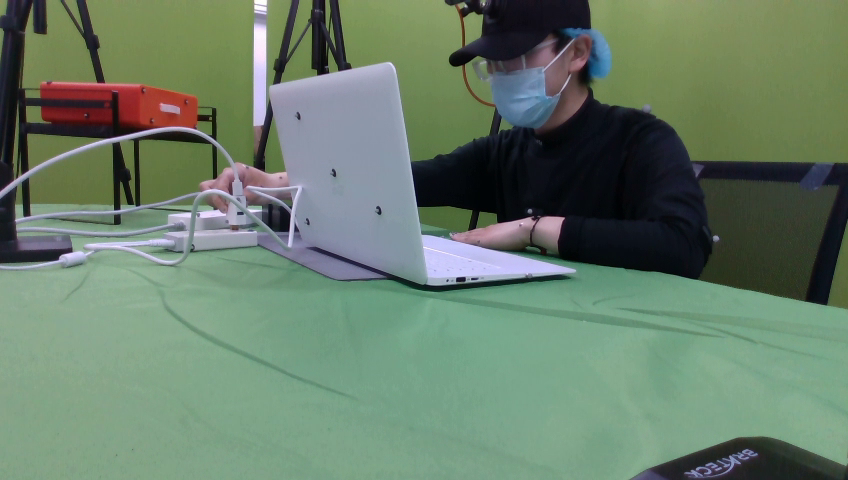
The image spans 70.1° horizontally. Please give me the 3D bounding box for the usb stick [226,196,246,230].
[{"bbox_3d":[-0.287,-0.038,0.925,0.027,0.059,0.021,9,9,39],"label":"usb stick"}]

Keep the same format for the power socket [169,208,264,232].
[{"bbox_3d":[-0.381,-0.038,1.128,0.072,0.032,0.227,4,8,17],"label":"power socket"}]

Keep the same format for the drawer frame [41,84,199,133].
[{"bbox_3d":[-0.604,-0.264,1.225,0.213,0.082,0.202,3,8,8],"label":"drawer frame"}]

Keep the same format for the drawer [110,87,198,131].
[{"bbox_3d":[-0.602,-0.263,1.225,0.211,0.073,0.195,3,8,10],"label":"drawer"}]

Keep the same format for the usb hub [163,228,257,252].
[{"bbox_3d":[-0.314,-0.001,0.895,0.049,0.025,0.126,10,11,40],"label":"usb hub"}]

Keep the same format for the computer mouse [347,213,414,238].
[{"bbox_3d":[-0.079,-0.025,1.080,0.117,0.041,0.062,-5,12,-18],"label":"computer mouse"}]

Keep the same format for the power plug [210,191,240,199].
[{"bbox_3d":[-0.386,-0.071,1.203,0.072,0.052,0.035,8,10,25],"label":"power plug"}]

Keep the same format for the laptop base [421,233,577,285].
[{"bbox_3d":[0.007,0.022,0.850,0.237,0.023,0.352,1,7,-34],"label":"laptop base"}]

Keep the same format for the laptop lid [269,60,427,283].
[{"bbox_3d":[-0.110,-0.087,0.752,0.013,0.241,0.355,-18,19,-30],"label":"laptop lid"}]
